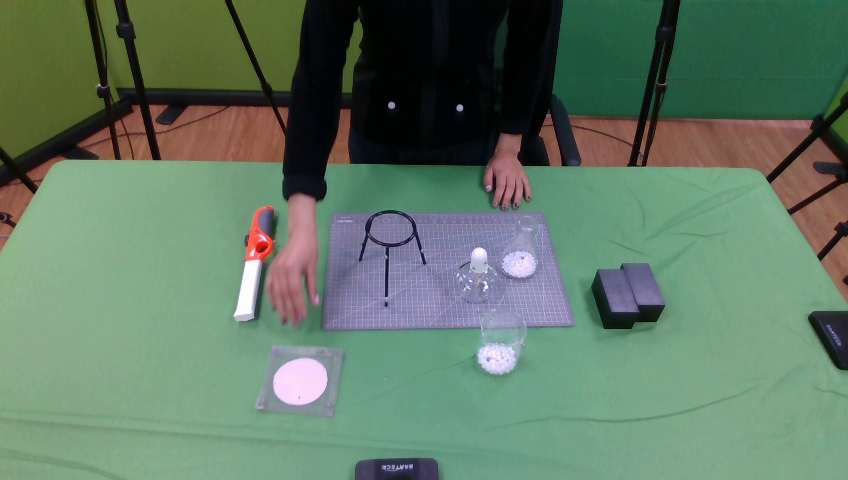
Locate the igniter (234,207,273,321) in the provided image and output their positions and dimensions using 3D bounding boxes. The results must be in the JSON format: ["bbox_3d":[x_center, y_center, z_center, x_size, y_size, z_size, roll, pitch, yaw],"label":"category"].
[{"bbox_3d":[-0.318,0.035,1.137,0.057,0.025,0.274,-8,46,3],"label":"igniter"}]

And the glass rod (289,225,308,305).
[{"bbox_3d":[-0.236,0.043,1.149,0.008,0.008,0.198,3,46,-1],"label":"glass rod"}]

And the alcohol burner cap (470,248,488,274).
[{"bbox_3d":[0.095,0.034,1.057,0.034,0.048,0.033,-3,53,4],"label":"alcohol burner cap"}]

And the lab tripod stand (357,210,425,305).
[{"bbox_3d":[-0.060,0.020,1.094,0.148,0.132,0.147,3,44,-2],"label":"lab tripod stand"}]

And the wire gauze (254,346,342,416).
[{"bbox_3d":[-0.201,0.223,0.978,0.125,0.011,0.121,4,45,1],"label":"wire gauze"}]

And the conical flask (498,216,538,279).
[{"bbox_3d":[0.183,0.010,1.132,0.075,0.122,0.075,2,46,-2],"label":"conical flask"}]

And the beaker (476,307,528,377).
[{"bbox_3d":[0.122,0.171,0.991,0.084,0.101,0.073,-34,56,-31],"label":"beaker"}]

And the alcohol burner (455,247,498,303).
[{"bbox_3d":[0.095,0.057,1.084,0.078,0.120,0.077,1,47,-1],"label":"alcohol burner"}]
